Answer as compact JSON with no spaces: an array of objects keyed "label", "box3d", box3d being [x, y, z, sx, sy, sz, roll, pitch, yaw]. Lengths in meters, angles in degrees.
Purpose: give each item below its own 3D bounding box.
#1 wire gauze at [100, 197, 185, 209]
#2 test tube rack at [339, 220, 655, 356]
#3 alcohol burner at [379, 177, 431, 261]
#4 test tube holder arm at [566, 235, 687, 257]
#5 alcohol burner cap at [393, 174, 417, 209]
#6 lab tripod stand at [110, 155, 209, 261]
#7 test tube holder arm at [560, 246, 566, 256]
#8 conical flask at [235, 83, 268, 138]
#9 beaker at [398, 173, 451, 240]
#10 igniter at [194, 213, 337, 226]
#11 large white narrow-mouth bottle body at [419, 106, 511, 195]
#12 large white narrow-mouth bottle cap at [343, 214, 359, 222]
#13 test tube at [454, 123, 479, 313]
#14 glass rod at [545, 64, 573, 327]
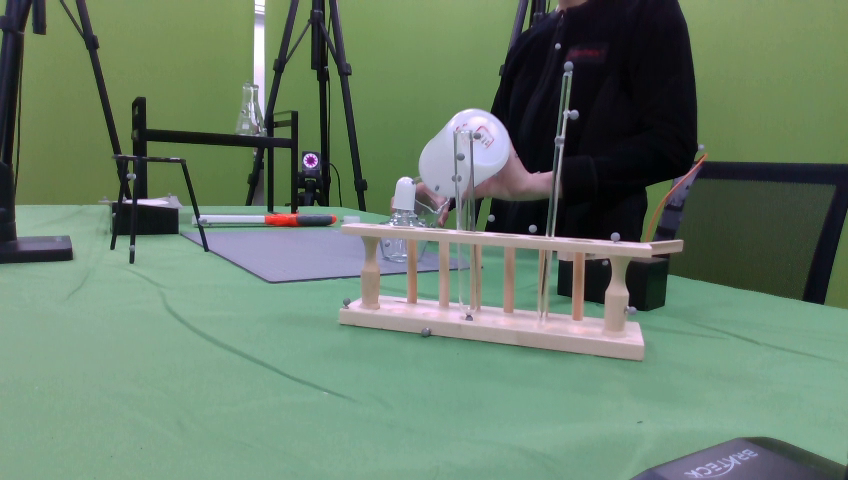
[{"label":"wire gauze","box3d":[-0.469,-0.062,1.008,0.126,0.011,0.121,-2,8,-25]},{"label":"test tube rack","box3d":[0.056,0.032,0.495,0.242,0.085,0.067,4,7,15]},{"label":"alcohol burner","box3d":[-0.027,-0.031,0.838,0.078,0.119,0.078,0,6,0]},{"label":"test tube holder arm","box3d":[0.215,0.006,0.630,0.179,0.015,0.013,-3,9,-31]},{"label":"alcohol burner cap","box3d":[-0.025,-0.067,0.834,0.034,0.048,0.034,8,7,-1]},{"label":"lab tripod stand","box3d":[-0.361,-0.046,0.806,0.148,0.131,0.148,2,5,0]},{"label":"test tube holder arm","box3d":[0.173,0.007,0.612,0.088,0.015,0.010,-3,9,-29]},{"label":"conical flask","box3d":[-0.402,-0.299,1.406,0.075,0.122,0.075,2,7,0]},{"label":"beaker","box3d":[-0.001,-0.054,1.055,0.074,0.100,0.083,-5,53,-24]},{"label":"igniter","box3d":[-0.306,-0.041,1.197,0.278,0.025,0.057,-2,-2,-30]},{"label":"large white narrow-mouth bottle body","box3d":[0.048,-0.123,0.932,0.102,0.101,0.194,-1,-13,-22]},{"label":"large white narrow-mouth bottle cap","box3d":[-0.155,-0.043,1.282,0.038,0.024,0.037,2,8,0]},{"label":"test tube","box3d":[0.034,-0.016,0.477,0.017,0.150,0.017,-2,9,1]},{"label":"glass rod","box3d":[0.101,-0.028,0.453,0.008,0.199,0.008,1,14,0]}]
